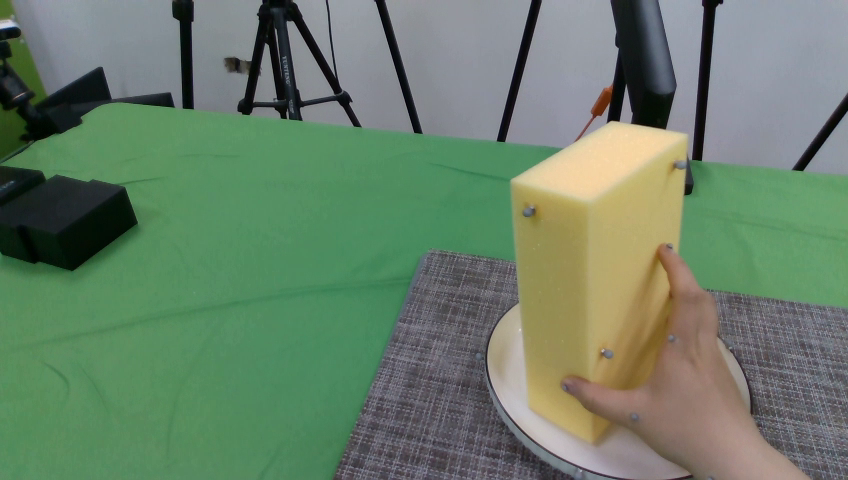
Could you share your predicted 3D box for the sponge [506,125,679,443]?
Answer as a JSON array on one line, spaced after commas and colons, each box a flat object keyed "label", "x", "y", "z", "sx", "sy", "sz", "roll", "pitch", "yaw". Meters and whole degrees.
[{"label": "sponge", "x": 0.128, "y": 0.033, "z": 0.451, "sx": 0.118, "sy": 0.208, "sz": 0.060, "roll": -33, "pitch": 38, "yaw": -32}]

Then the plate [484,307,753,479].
[{"label": "plate", "x": 0.152, "y": 0.119, "z": 0.497, "sx": 0.208, "sy": 0.039, "sz": 0.205, "roll": 0, "pitch": 36, "yaw": 0}]
